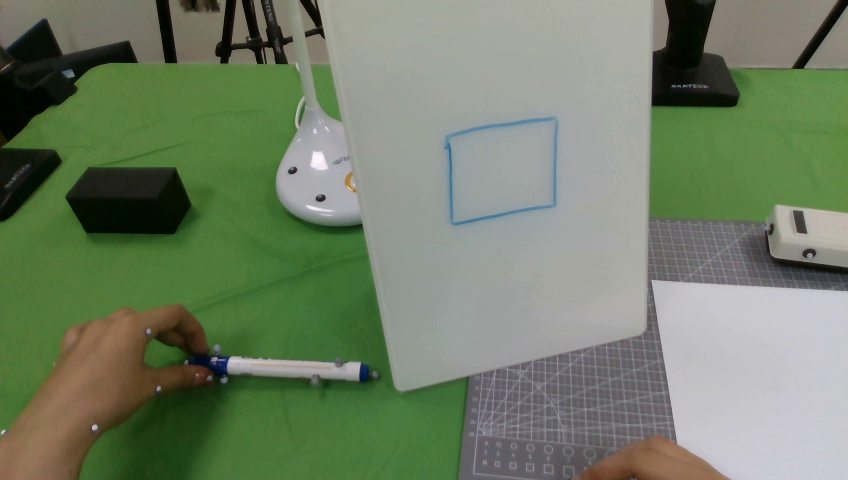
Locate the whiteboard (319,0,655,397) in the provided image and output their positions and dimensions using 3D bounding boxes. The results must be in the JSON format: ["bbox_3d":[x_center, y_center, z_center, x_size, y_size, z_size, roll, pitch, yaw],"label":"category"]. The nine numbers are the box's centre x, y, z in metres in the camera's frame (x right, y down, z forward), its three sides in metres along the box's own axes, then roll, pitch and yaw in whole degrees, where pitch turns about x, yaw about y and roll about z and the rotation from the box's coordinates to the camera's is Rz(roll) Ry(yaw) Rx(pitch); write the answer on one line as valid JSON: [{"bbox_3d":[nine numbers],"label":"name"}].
[{"bbox_3d":[0.051,-0.060,0.493,0.217,0.307,0.142,-11,25,-6],"label":"whiteboard"}]

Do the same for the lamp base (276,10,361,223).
[{"bbox_3d":[-0.098,-0.136,0.634,0.160,0.182,0.177,-32,48,-26],"label":"lamp base"}]

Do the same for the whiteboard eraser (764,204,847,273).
[{"bbox_3d":[0.372,0.002,0.547,0.112,0.042,0.055,8,44,13],"label":"whiteboard eraser"}]

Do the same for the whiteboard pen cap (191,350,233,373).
[{"bbox_3d":[-0.173,0.101,0.502,0.033,0.018,0.018,3,44,1],"label":"whiteboard pen cap"}]

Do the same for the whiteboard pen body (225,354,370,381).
[{"bbox_3d":[-0.114,0.104,0.498,0.141,0.017,0.017,3,44,3],"label":"whiteboard pen body"}]
